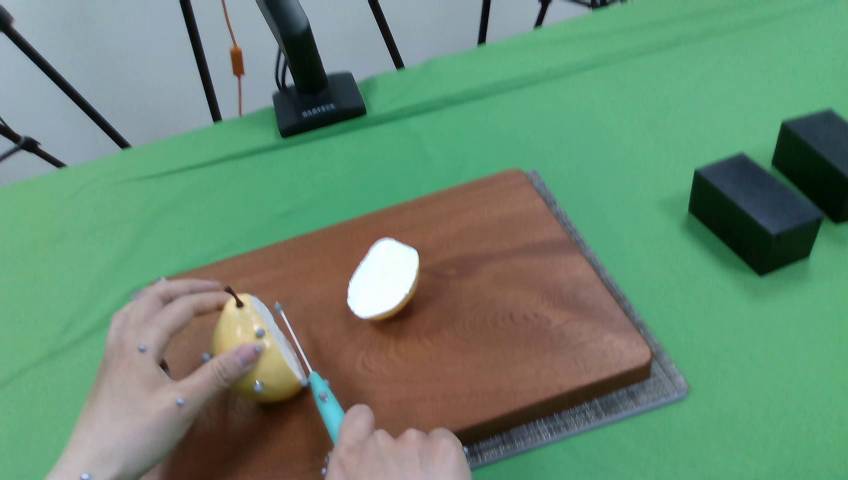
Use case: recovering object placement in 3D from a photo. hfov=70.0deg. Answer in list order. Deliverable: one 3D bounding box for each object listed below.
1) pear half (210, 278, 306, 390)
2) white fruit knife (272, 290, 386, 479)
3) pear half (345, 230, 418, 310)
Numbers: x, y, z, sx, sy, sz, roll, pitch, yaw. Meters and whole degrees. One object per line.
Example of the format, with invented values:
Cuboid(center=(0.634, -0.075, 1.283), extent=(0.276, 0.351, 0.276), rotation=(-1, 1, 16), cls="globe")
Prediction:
Cuboid(center=(-0.135, 0.070, 0.450), extent=(0.056, 0.111, 0.075), rotation=(-33, 43, -15), cls="pear half")
Cuboid(center=(-0.079, 0.102, 0.449), extent=(0.016, 0.028, 0.205), rotation=(-29, 47, -14), cls="white fruit knife")
Cuboid(center=(-0.032, 0.029, 0.523), extent=(0.070, 0.031, 0.087), rotation=(-19, 36, 14), cls="pear half")
